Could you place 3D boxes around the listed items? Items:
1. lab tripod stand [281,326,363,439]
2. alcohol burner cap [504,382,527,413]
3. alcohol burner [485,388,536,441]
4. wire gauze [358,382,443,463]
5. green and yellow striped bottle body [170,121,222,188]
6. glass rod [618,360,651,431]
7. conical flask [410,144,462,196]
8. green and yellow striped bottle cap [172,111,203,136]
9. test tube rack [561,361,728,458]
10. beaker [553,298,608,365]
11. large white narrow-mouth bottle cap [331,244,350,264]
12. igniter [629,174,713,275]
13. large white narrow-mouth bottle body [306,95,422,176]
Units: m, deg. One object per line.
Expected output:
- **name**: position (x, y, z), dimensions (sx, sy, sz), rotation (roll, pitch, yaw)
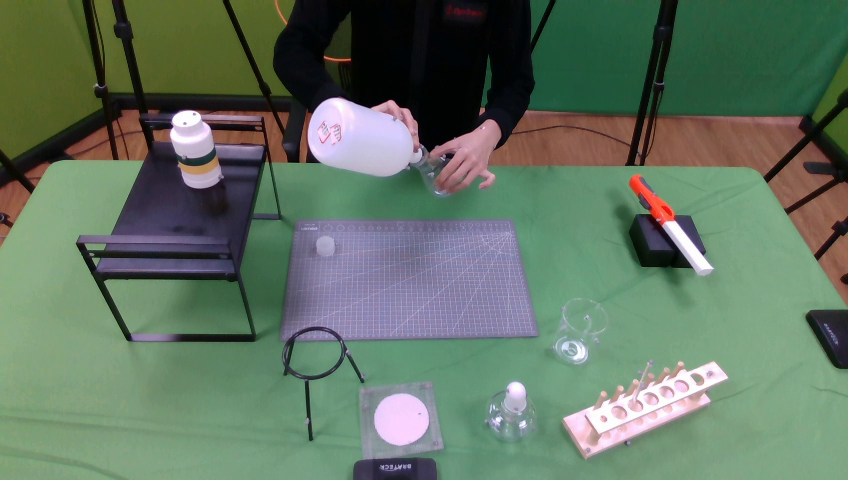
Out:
- **lab tripod stand**: position (-0.166, 0.203, 0.913), dimensions (0.148, 0.132, 0.147), rotation (1, 47, -1)
- **alcohol burner cap**: position (0.133, 0.225, 0.877), dimensions (0.034, 0.048, 0.033), rotation (-4, 47, 5)
- **alcohol burner**: position (0.131, 0.249, 0.904), dimensions (0.078, 0.120, 0.077), rotation (1, 48, -1)
- **wire gauze**: position (-0.039, 0.276, 0.937), dimensions (0.121, 0.011, 0.124), rotation (-4, 47, -7)
- **green and yellow striped bottle body**: position (-0.375, -0.149, 0.995), dimensions (0.063, 0.120, 0.063), rotation (2, 46, -2)
- **glass rod**: position (0.298, 0.227, 0.865), dimensions (0.008, 0.201, 0.008), rotation (-2, 48, 2)
- **conical flask**: position (0.013, -0.129, 1.074), dimensions (0.075, 0.122, 0.075), rotation (-8, 72, 25)
- **green and yellow striped bottle cap**: position (-0.374, -0.185, 0.957), dimensions (0.045, 0.020, 0.045), rotation (4, 45, -3)
- **test tube rack**: position (0.341, 0.248, 0.940), dimensions (0.243, 0.085, 0.066), rotation (-15, 49, -18)
- **beaker**: position (0.260, 0.154, 1.014), dimensions (0.073, 0.101, 0.084), rotation (37, 54, 27)
- **large white narrow-mouth bottle cap**: position (-0.160, 0.026, 1.161), dimensions (0.038, 0.024, 0.037), rotation (4, 46, -4)
- **igniter**: position (0.481, -0.040, 1.202), dimensions (0.057, 0.025, 0.274), rotation (-2, 46, -21)
- **large white narrow-mouth bottle body**: position (-0.080, -0.154, 0.951), dimensions (0.195, 0.102, 0.101), rotation (10, 34, -46)
